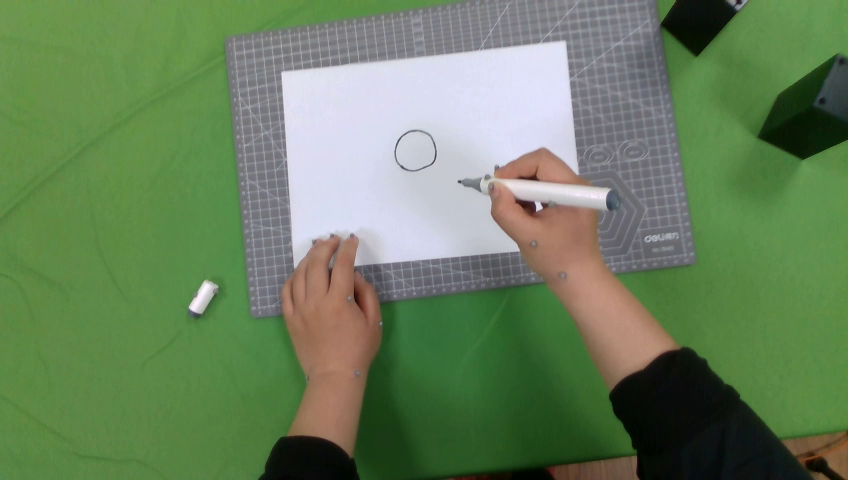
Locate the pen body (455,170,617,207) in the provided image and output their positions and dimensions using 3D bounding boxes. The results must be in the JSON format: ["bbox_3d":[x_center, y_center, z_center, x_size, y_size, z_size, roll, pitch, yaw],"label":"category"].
[{"bbox_3d":[0.078,-0.042,0.464,0.143,0.017,0.017,14,85,41],"label":"pen body"}]

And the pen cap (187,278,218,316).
[{"bbox_3d":[-0.228,0.059,0.621,0.017,0.017,0.038,31,87,6],"label":"pen cap"}]
